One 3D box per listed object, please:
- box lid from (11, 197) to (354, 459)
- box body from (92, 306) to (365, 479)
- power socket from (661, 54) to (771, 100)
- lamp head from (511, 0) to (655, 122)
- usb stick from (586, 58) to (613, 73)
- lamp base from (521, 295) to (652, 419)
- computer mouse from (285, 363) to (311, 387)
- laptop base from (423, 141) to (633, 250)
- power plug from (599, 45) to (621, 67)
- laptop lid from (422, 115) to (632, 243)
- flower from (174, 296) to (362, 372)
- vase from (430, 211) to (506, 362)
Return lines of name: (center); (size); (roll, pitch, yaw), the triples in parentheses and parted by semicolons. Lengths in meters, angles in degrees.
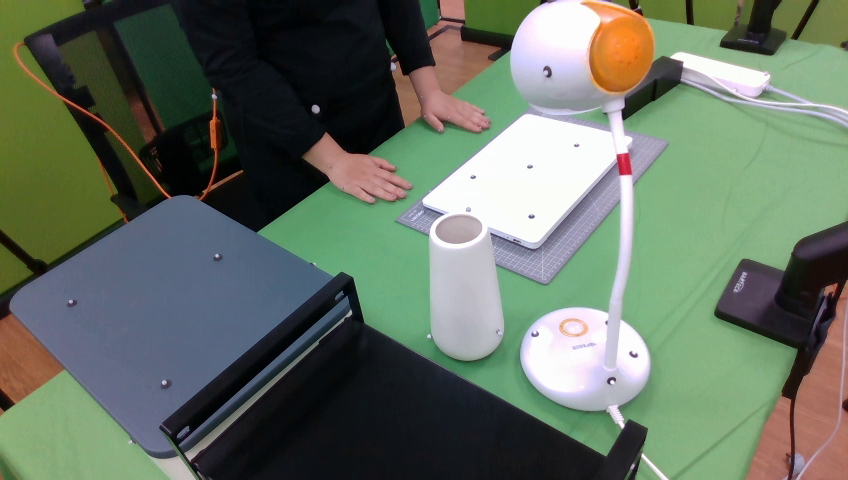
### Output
box lid: (-0.288, 0.072, 0.710); (0.368, 0.015, 0.264); (25, 50, 32)
box body: (-0.282, 0.128, 0.759); (0.361, 0.161, 0.255); (24, 49, 32)
power socket: (0.615, -0.348, 1.285); (0.072, 0.033, 0.225); (-36, 48, -29)
lamp head: (0.155, -0.168, 0.564); (0.113, 0.113, 0.122); (-18, 23, -12)
usb stick: (0.401, -0.399, 1.381); (0.059, 0.027, 0.021); (0, 48, 21)
lamp base: (0.201, 0.095, 0.710); (0.161, 0.181, 0.177); (-16, 43, -10)
computer mouse: (-0.161, 0.158, 0.791); (0.116, 0.041, 0.063); (26, 45, 23)
laptop base: (0.194, -0.116, 1.087); (0.233, 0.023, 0.355); (21, 48, 34)
power plug: (0.437, -0.422, 1.412); (0.053, 0.035, 0.072); (-18, 73, -47)
laptop lid: (0.190, -0.126, 1.081); (0.239, 0.013, 0.358); (23, 48, 34)
flower: (-0.233, 0.115, 0.832); (0.359, 0.044, 0.038); (10, -2, 33)
vase: (0.054, 0.062, 0.757); (0.098, 0.201, 0.097); (-3, 40, 3)
